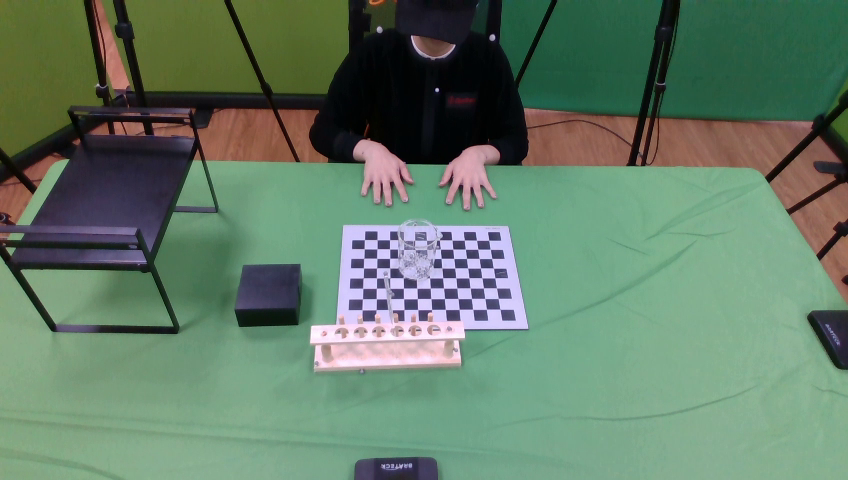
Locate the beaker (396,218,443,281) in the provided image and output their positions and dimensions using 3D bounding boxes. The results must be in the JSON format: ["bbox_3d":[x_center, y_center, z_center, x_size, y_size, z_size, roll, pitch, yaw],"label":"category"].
[{"bbox_3d":[-0.010,0.020,1.116,0.084,0.101,0.073,1,46,-3],"label":"beaker"}]

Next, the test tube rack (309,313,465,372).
[{"bbox_3d":[-0.059,0.161,0.990,0.242,0.085,0.066,-1,46,-5],"label":"test tube rack"}]

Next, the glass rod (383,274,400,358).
[{"bbox_3d":[-0.049,0.122,0.936,0.008,0.201,0.008,-3,43,3],"label":"glass rod"}]
